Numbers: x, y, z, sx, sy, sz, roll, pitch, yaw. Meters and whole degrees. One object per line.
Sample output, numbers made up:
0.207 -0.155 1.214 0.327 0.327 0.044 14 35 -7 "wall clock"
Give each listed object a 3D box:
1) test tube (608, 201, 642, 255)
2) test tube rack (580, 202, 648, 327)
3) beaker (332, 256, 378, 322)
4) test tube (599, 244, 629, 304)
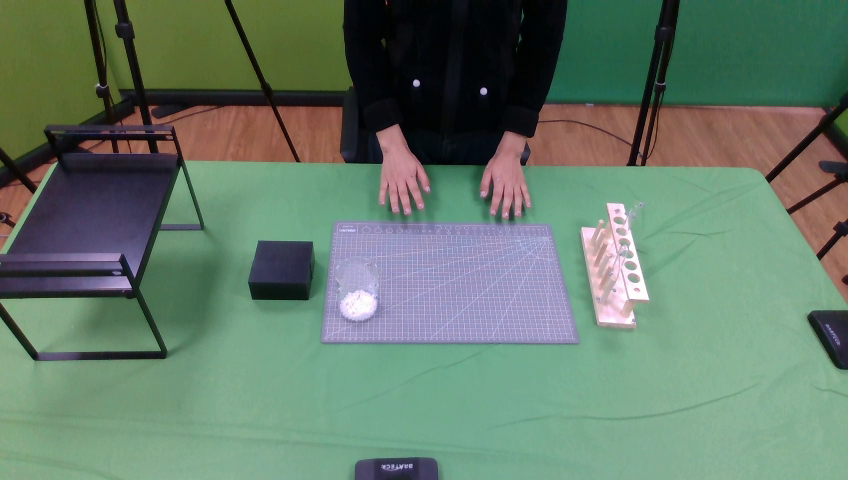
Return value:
0.374 -0.019 1.134 0.017 0.151 0.017 3 52 -4 "test tube"
0.352 0.040 1.143 0.067 0.085 0.241 4 46 0 "test tube rack"
-0.114 0.089 1.047 0.083 0.101 0.074 30 51 21 "beaker"
0.331 0.061 1.059 0.017 0.151 0.017 2 46 -1 "test tube"
